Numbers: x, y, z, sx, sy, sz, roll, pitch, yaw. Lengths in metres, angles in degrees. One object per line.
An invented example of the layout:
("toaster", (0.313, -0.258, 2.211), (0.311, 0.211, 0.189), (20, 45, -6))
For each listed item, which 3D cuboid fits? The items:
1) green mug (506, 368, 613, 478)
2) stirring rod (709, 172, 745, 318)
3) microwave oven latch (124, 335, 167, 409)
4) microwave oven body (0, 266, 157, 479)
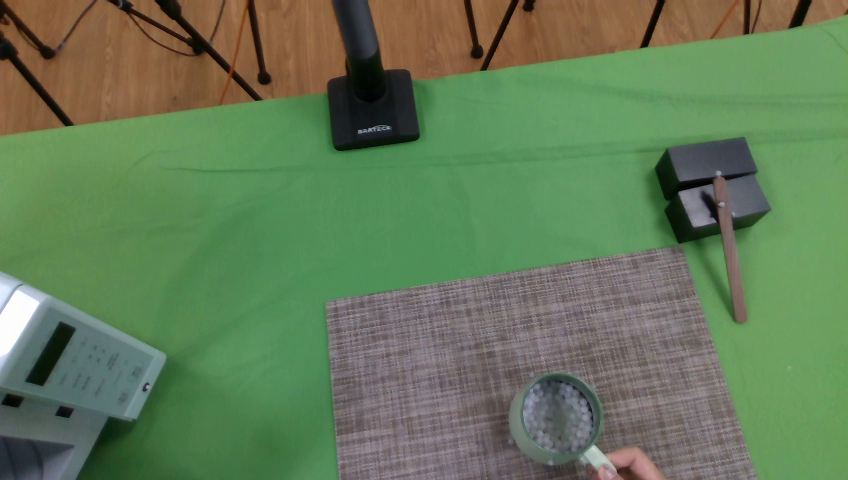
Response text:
("green mug", (0.144, 0.191, 0.622), (0.092, 0.105, 0.124), (-40, 73, -10))
("stirring rod", (0.360, 0.006, 0.718), (0.014, 0.006, 0.176), (-11, 93, 9))
("microwave oven latch", (-0.324, 0.149, 0.687), (0.030, 0.030, 0.079), (20, 71, 9))
("microwave oven body", (-0.527, 0.224, 0.560), (0.325, 0.262, 0.439), (18, 71, 8))
